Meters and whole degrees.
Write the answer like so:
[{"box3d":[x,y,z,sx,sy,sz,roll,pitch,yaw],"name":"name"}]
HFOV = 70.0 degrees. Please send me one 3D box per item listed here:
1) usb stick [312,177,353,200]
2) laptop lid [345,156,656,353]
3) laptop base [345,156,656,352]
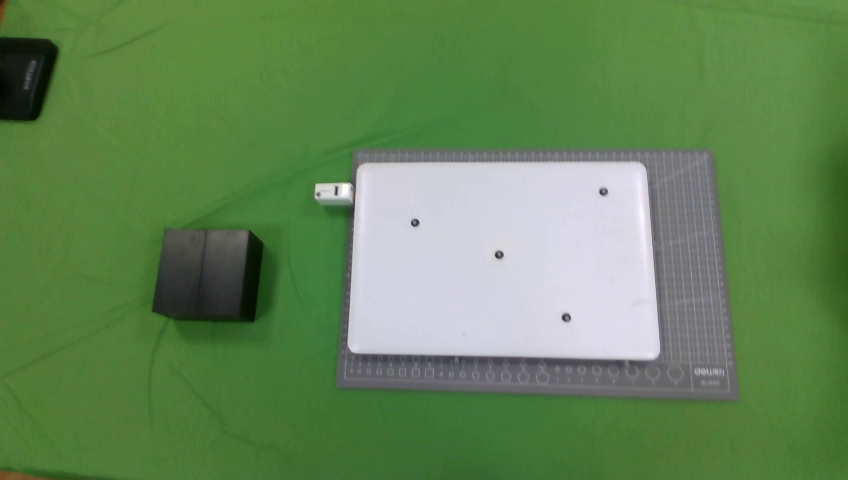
[{"box3d":[-0.105,-0.063,0.743,0.059,0.027,0.021,1,74,4],"name":"usb stick"},{"box3d":[0.086,0.012,0.709,0.356,0.013,0.240,2,76,4],"name":"laptop lid"},{"box3d":[0.087,0.013,0.721,0.354,0.023,0.234,0,78,3],"name":"laptop base"}]
